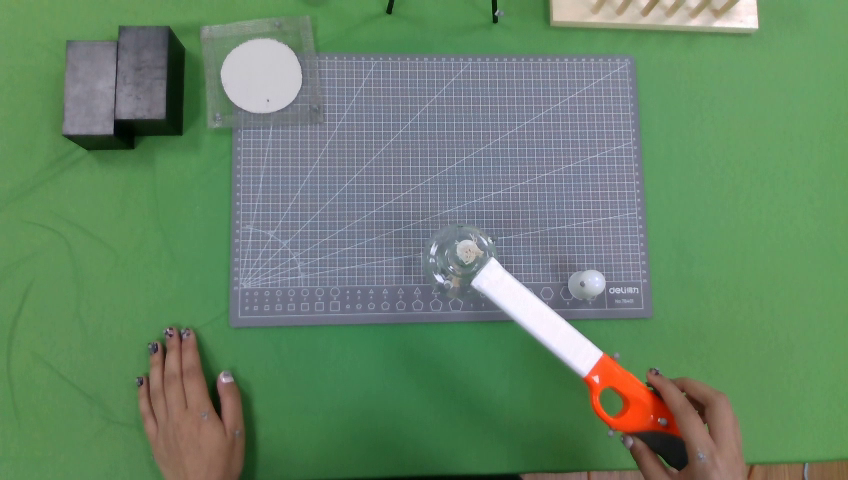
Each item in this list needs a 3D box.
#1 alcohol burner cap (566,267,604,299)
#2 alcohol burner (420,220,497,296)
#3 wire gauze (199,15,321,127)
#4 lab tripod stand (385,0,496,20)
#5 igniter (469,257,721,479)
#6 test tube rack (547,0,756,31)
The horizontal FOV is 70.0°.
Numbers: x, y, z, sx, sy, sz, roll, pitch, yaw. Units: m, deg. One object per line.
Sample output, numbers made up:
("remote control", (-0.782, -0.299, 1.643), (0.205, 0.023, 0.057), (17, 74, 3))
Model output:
("alcohol burner cap", (0.172, 0.044, 0.639), (0.034, 0.048, 0.033), (0, 81, -2))
("alcohol burner", (0.036, 0.015, 0.598), (0.078, 0.119, 0.077), (1, 80, -4))
("wire gauze", (-0.180, -0.185, 0.662), (0.125, 0.011, 0.121), (-6, 82, -4))
("lab tripod stand", (0.022, -0.305, 0.632), (0.148, 0.132, 0.148), (0, 81, -2))
("igniter", (0.152, 0.116, 0.532), (0.276, 0.025, 0.057), (41, 82, 1))
("test tube rack", (0.266, -0.286, 0.669), (0.242, 0.085, 0.066), (0, 82, -3))
